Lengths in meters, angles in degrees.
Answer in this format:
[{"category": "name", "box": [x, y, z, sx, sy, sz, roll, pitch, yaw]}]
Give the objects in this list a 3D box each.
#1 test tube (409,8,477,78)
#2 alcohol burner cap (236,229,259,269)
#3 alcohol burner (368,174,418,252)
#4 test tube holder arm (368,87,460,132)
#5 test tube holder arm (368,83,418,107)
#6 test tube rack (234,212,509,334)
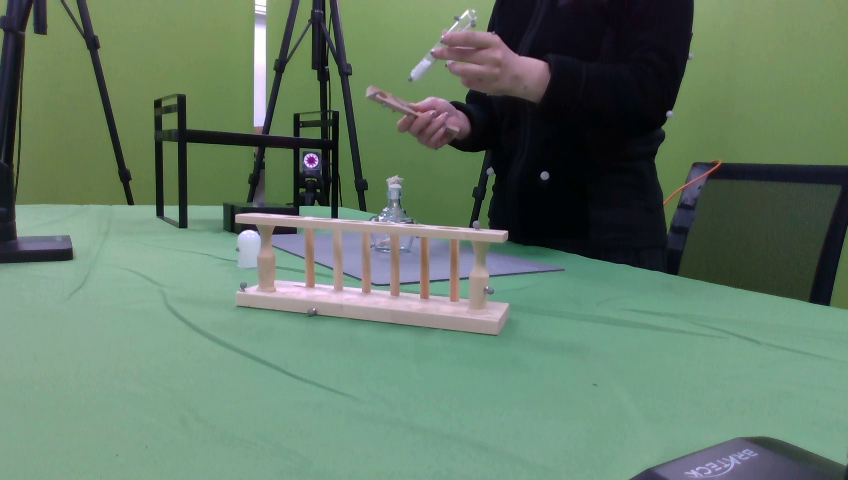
[{"category": "test tube", "box": [0.021, -0.261, 0.811, 0.017, 0.017, 0.149, -3, -16, -35]}, {"category": "alcohol burner cap", "box": [-0.221, 0.010, 0.759, 0.034, 0.048, 0.034, -1, 12, 1]}, {"category": "alcohol burner", "box": [-0.047, -0.042, 0.922, 0.078, 0.119, 0.078, 1, 10, 0]}, {"category": "test tube holder arm", "box": [-0.012, -0.201, 0.946, 0.179, 0.013, 0.015, 17, -20, -38]}, {"category": "test tube holder arm", "box": [-0.046, -0.217, 0.919, 0.088, 0.010, 0.015, 17, -19, -38]}, {"category": "test tube rack", "box": [-0.046, 0.023, 0.547, 0.242, 0.085, 0.067, 4, 8, 15]}]
